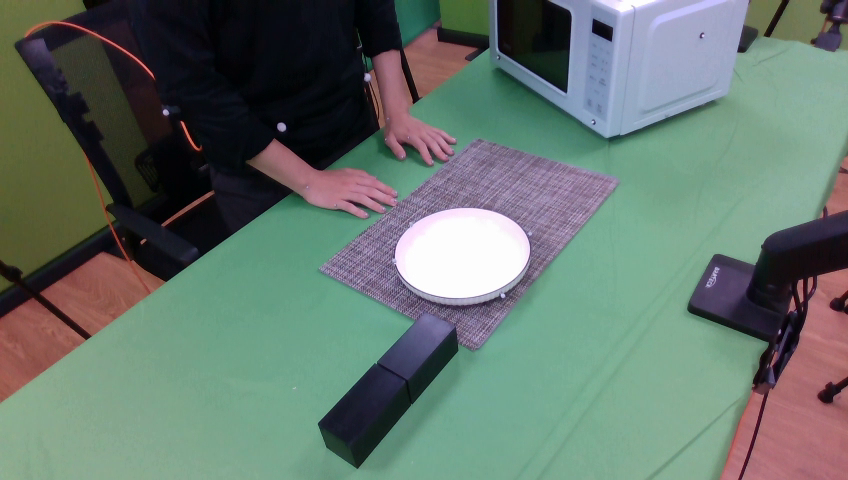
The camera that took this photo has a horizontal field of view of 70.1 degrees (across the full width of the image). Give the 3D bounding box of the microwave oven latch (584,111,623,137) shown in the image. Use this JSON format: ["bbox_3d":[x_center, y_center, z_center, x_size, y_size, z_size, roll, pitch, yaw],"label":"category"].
[{"bbox_3d":[0.337,-0.222,1.142,0.030,0.029,0.078,-21,42,-14],"label":"microwave oven latch"}]

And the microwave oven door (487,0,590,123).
[{"bbox_3d":[0.232,-0.420,1.231,0.039,0.245,0.352,-22,43,-16],"label":"microwave oven door"}]

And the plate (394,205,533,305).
[{"bbox_3d":[0.059,0.025,0.915,0.207,0.039,0.206,-4,41,4],"label":"plate"}]

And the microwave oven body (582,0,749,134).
[{"bbox_3d":[0.382,-0.444,1.246,0.327,0.261,0.437,-22,42,-16],"label":"microwave oven body"}]
